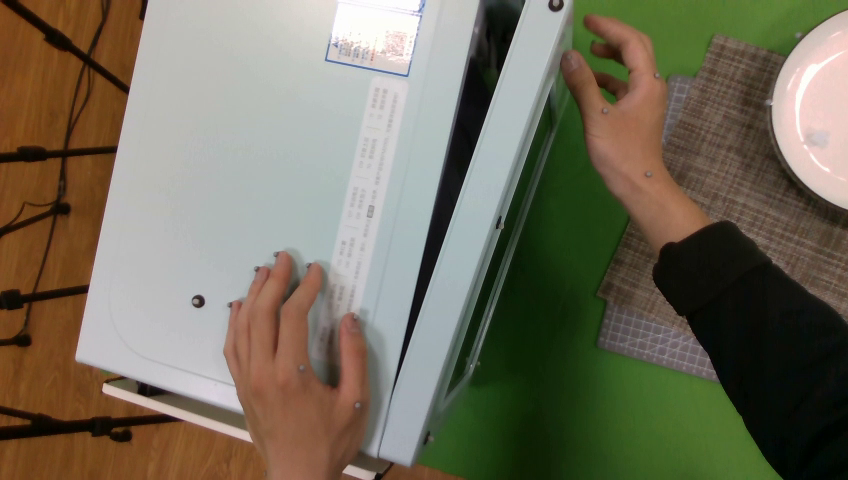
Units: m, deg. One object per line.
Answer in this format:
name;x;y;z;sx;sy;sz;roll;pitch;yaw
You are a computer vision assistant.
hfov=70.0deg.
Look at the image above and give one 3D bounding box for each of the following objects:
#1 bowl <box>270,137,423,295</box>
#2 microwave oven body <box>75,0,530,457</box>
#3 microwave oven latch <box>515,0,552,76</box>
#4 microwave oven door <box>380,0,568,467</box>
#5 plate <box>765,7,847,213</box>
bowl;-0.068;-0.021;0.608;0.151;0.077;0.151;0;89;11
microwave oven body;-0.088;-0.079;0.582;0.325;0.261;0.441;13;93;12
microwave oven latch;0.115;-0.216;0.637;0.030;0.029;0.079;14;93;12
microwave oven door;0.056;-0.001;0.544;0.039;0.244;0.356;19;93;13
plate;0.437;-0.122;0.578;0.208;0.038;0.209;-1;88;12
